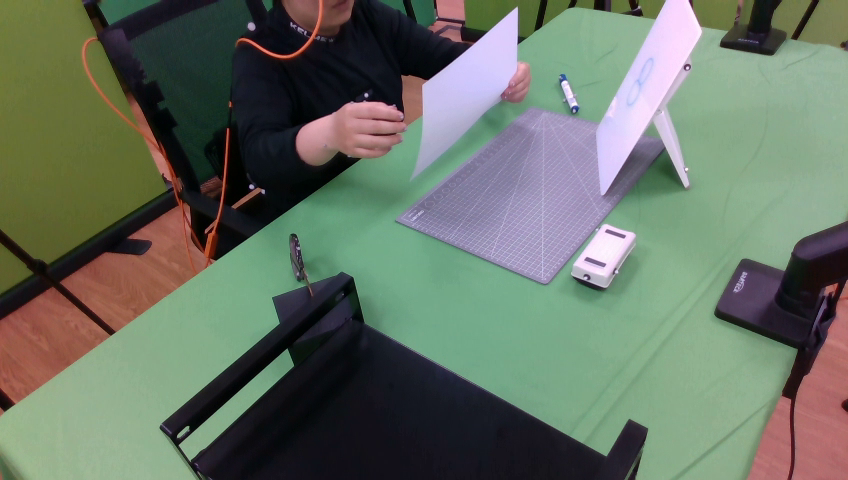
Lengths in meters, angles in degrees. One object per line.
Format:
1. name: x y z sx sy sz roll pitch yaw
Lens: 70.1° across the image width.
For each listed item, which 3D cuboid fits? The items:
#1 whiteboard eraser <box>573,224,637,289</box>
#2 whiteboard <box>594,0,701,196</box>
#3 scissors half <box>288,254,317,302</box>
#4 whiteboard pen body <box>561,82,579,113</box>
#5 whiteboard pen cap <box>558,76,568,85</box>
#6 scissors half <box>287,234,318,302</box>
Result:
1. whiteboard eraser: 0.267 0.025 0.891 0.055 0.042 0.113 19 47 31
2. whiteboard: 0.420 -0.227 1.010 0.144 0.305 0.216 18 42 -2
3. scissors half: -0.178 0.058 0.894 0.013 0.040 0.174 -14 20 -19
4. whiteboard pen body: 0.310 -0.312 1.298 0.017 0.017 0.140 -6 41 2
5. whiteboard pen cap: 0.309 -0.350 1.340 0.018 0.018 0.033 -7 41 1
6. scissors half: -0.178 0.040 0.885 0.013 0.040 0.173 -9 36 -22
